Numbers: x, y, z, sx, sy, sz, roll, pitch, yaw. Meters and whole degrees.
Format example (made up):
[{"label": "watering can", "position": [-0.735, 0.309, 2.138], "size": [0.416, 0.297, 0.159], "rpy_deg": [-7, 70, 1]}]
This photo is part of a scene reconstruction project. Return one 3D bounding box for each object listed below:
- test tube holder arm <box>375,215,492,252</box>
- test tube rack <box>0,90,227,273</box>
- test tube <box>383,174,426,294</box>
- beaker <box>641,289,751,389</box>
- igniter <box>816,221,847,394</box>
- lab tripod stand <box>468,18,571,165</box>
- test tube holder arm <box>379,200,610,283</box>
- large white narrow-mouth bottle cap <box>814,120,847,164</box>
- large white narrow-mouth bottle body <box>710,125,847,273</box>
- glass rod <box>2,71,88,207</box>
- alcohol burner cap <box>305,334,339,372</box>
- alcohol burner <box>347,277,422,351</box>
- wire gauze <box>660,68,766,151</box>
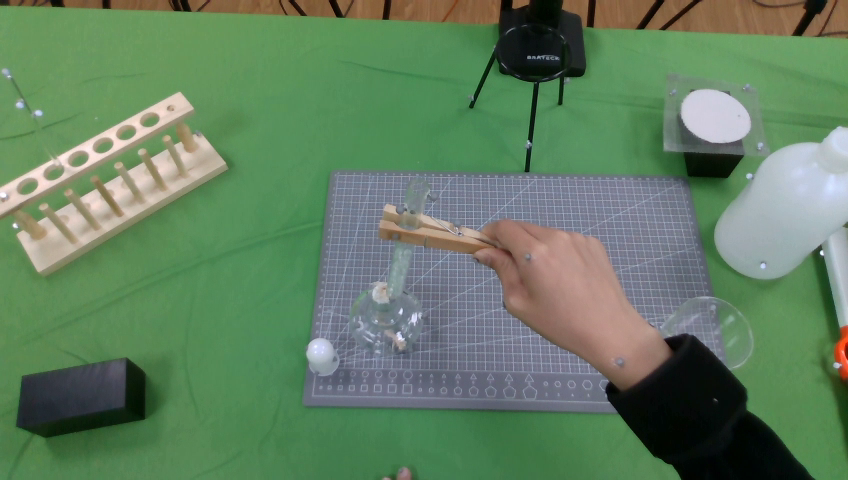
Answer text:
[{"label": "test tube holder arm", "position": [0.007, -0.005, 0.452], "size": [0.088, 0.015, 0.010], "rpy_deg": [9, 58, -3]}, {"label": "test tube rack", "position": [-0.364, -0.070, 0.706], "size": [0.242, 0.086, 0.066], "rpy_deg": [-35, 67, -18]}, {"label": "test tube", "position": [-0.018, 0.001, 0.475], "size": [0.017, 0.151, 0.017], "rpy_deg": [5, 55, -7]}, {"label": "beaker", "position": [0.264, 0.103, 0.607], "size": [0.084, 0.101, 0.073], "rpy_deg": [6, 61, 4]}, {"label": "igniter", "position": [0.463, 0.098, 0.656], "size": [0.057, 0.025, 0.274], "rpy_deg": [11, 61, -6]}, {"label": "lab tripod stand", "position": [0.125, -0.189, 0.748], "size": [0.148, 0.132, 0.147], "rpy_deg": [1, 62, -2]}, {"label": "test tube holder arm", "position": [0.052, 0.001, 0.456], "size": [0.178, 0.015, 0.013], "rpy_deg": [16, 58, 1]}, {"label": "large white narrow-mouth bottle cap", "position": [0.386, -0.092, 0.564], "size": [0.038, 0.024, 0.037], "rpy_deg": [0, 61, 0]}, {"label": "large white narrow-mouth bottle body", "position": [0.386, -0.048, 0.639], "size": [0.102, 0.196, 0.101], "rpy_deg": [0, 61, 0]}, {"label": "glass rod", "position": [-0.398, -0.096, 0.645], "size": [0.008, 0.201, 0.008], "rpy_deg": [2, 53, -3]}, {"label": "alcohol burner cap", "position": [-0.108, 0.115, 0.629], "size": [0.034, 0.048, 0.033], "rpy_deg": [-1, 63, 2]}, {"label": "alcohol burner", "position": [-0.041, 0.068, 0.615], "size": [0.078, 0.120, 0.077], "rpy_deg": [1, 60, -2]}, {"label": "wire gauze", "position": [0.354, -0.161, 0.750], "size": [0.121, 0.011, 0.124], "rpy_deg": [8, 61, 4]}]
